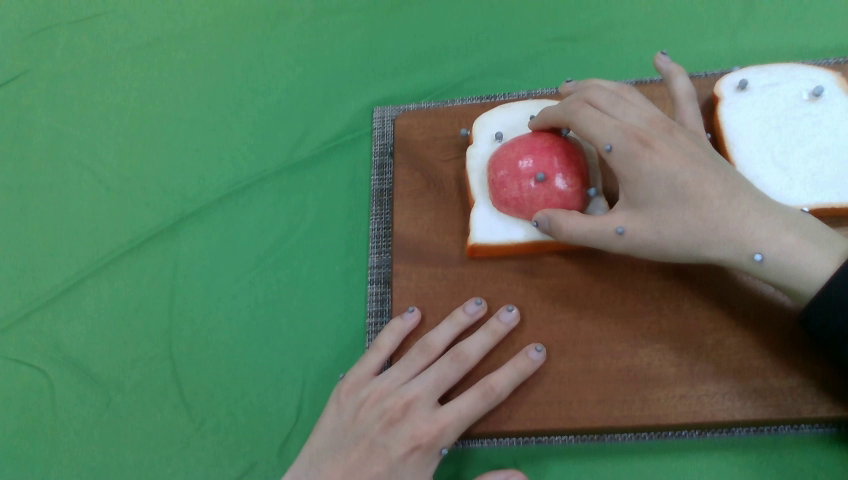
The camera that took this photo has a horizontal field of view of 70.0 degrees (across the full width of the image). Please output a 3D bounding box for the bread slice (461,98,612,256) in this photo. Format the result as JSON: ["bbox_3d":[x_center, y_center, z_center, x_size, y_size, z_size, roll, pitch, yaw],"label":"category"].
[{"bbox_3d":[0.077,-0.051,0.452,0.105,0.019,0.130,-5,62,5],"label":"bread slice"}]

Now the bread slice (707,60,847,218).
[{"bbox_3d":[0.259,-0.075,0.434,0.107,0.018,0.133,-6,60,5],"label":"bread slice"}]

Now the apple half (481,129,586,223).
[{"bbox_3d":[0.077,-0.051,0.423,0.081,0.033,0.080,-2,64,5],"label":"apple half"}]
